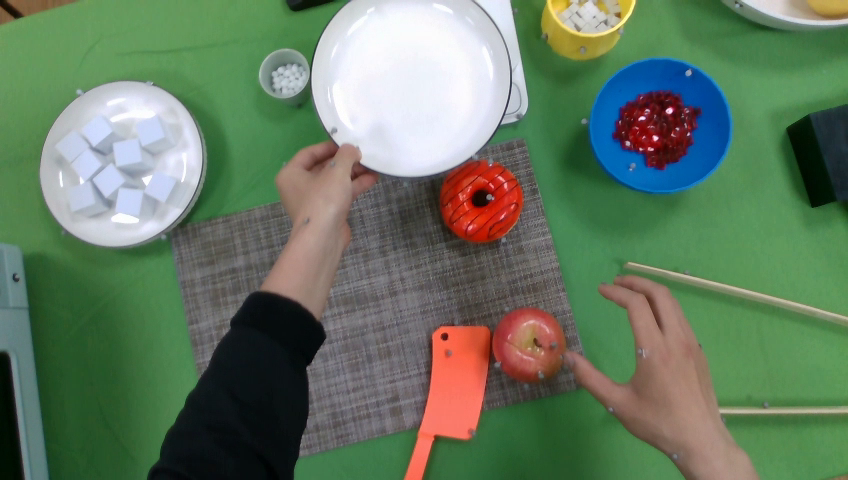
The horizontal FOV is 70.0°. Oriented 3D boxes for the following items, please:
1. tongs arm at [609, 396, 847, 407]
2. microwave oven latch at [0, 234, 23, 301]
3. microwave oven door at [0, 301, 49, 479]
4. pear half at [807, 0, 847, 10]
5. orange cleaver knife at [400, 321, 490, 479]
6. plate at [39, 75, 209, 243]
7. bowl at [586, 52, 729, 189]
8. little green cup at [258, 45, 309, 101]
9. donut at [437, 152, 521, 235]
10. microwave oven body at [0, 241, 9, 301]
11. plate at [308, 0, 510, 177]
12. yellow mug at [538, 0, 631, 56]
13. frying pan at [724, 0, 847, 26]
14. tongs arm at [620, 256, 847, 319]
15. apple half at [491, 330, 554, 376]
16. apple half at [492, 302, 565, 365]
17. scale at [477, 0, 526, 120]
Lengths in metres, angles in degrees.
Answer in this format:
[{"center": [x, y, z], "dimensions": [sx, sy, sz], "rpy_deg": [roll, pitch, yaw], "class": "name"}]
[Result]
[{"center": [0.402, 0.161, 0.670], "dimensions": [0.385, 0.026, 0.050], "rpy_deg": [1, 80, 3], "class": "tongs arm"}, {"center": [-0.504, 0.033, 0.724], "dimensions": [0.030, 0.029, 0.079], "rpy_deg": [-9, 84, 2], "class": "microwave oven latch"}, {"center": [-0.471, 0.236, 0.599], "dimensions": [0.039, 0.244, 0.354], "rpy_deg": [-12, 83, 3], "class": "microwave oven door"}, {"center": [0.467, -0.295, 0.669], "dimensions": [0.076, 0.110, 0.056], "rpy_deg": [22, 86, 10], "class": "pear half"}, {"center": [0.024, 0.190, 0.696], "dimensions": [0.077, 0.012, 0.211], "rpy_deg": [15, 83, -1], "class": "orange cleaver knife"}, {"center": [-0.363, -0.098, 0.747], "dimensions": [0.207, 0.039, 0.207], "rpy_deg": [0, 84, 4], "class": "plate"}, {"center": [0.253, -0.125, 0.687], "dimensions": [0.151, 0.077, 0.151], "rpy_deg": [0, 85, 4], "class": "bowl"}, {"center": [-0.168, -0.202, 0.744], "dimensions": [0.061, 0.039, 0.061], "rpy_deg": [-1, 83, 4], "class": "little green cup"}, {"center": [0.063, -0.054, 0.706], "dimensions": [0.099, 0.048, 0.099], "rpy_deg": [0, 86, 5], "class": "donut"}, {"center": [-0.621, 0.224, 0.616], "dimensions": [0.326, 0.261, 0.440], "rpy_deg": [-12, 84, 2], "class": "microwave oven body"}, {"center": [-0.015, -0.168, 0.633], "dimensions": [0.209, 0.038, 0.208], "rpy_deg": [0, 87, 2], "class": "plate"}, {"center": [0.176, -0.288, 0.715], "dimensions": [0.130, 0.064, 0.100], "rpy_deg": [43, 89, 8], "class": "yellow mug"}, {"center": [0.505, -0.306, 0.675], "dimensions": [0.307, 0.103, 0.485], "rpy_deg": [-41, 75, 0], "class": "frying pan"}, {"center": [0.413, 0.076, 0.682], "dimensions": [0.387, 0.028, 0.028], "rpy_deg": [16, 77, 5], "class": "tongs arm"}, {"center": [0.103, 0.131, 0.669], "dimensions": [0.081, 0.081, 0.032], "rpy_deg": [28, 83, 7], "class": "apple half"}, {"center": [0.121, 0.097, 0.673], "dimensions": [0.080, 0.075, 0.053], "rpy_deg": [28, 83, 10], "class": "apple half"}, {"center": [0.037, -0.238, 0.737], "dimensions": [0.148, 0.031, 0.200], "rpy_deg": [-10, 84, 3], "class": "scale"}]
